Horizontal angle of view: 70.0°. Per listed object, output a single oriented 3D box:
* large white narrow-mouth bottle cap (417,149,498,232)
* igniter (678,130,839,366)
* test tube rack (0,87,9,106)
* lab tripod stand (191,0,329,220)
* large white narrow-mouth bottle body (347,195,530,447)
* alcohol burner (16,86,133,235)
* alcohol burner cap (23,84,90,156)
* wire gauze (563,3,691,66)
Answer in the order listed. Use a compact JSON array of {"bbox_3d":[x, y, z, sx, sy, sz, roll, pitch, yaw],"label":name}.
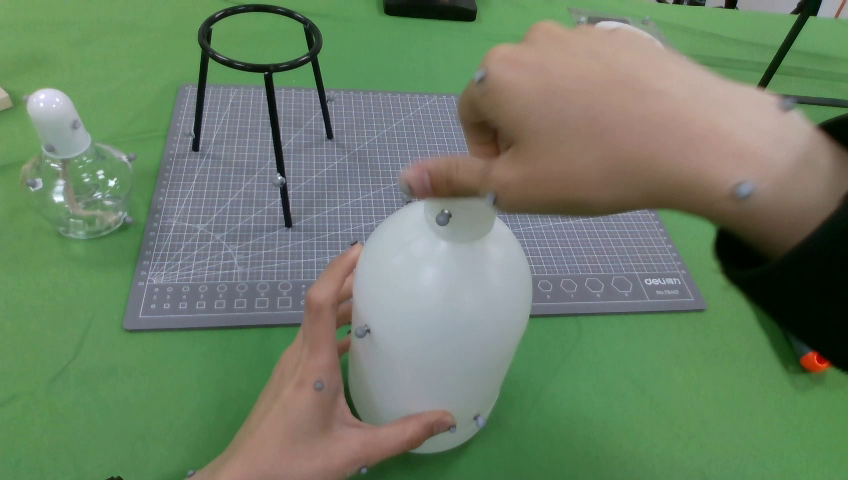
[{"bbox_3d":[0.016,-0.024,0.286,0.038,0.024,0.037,5,47,-5],"label":"large white narrow-mouth bottle cap"},{"bbox_3d":[0.297,-0.007,0.553,0.057,0.025,0.273,8,47,-17],"label":"igniter"},{"bbox_3d":[-0.480,-0.113,0.471,0.066,0.086,0.242,37,52,22],"label":"test tube rack"},{"bbox_3d":[-0.129,-0.111,0.496,0.149,0.132,0.147,6,48,-7],"label":"lab tripod stand"},{"bbox_3d":[0.007,0.036,0.350,0.102,0.196,0.101,4,47,-5],"label":"large white narrow-mouth bottle body"},{"bbox_3d":[-0.259,-0.061,0.444,0.078,0.120,0.077,6,46,-6],"label":"alcohol burner"},{"bbox_3d":[-0.255,-0.084,0.417,0.034,0.048,0.033,4,54,-5],"label":"alcohol burner cap"},{"bbox_3d":[0.228,-0.233,0.694,0.122,0.011,0.123,1,49,-11],"label":"wire gauze"}]
